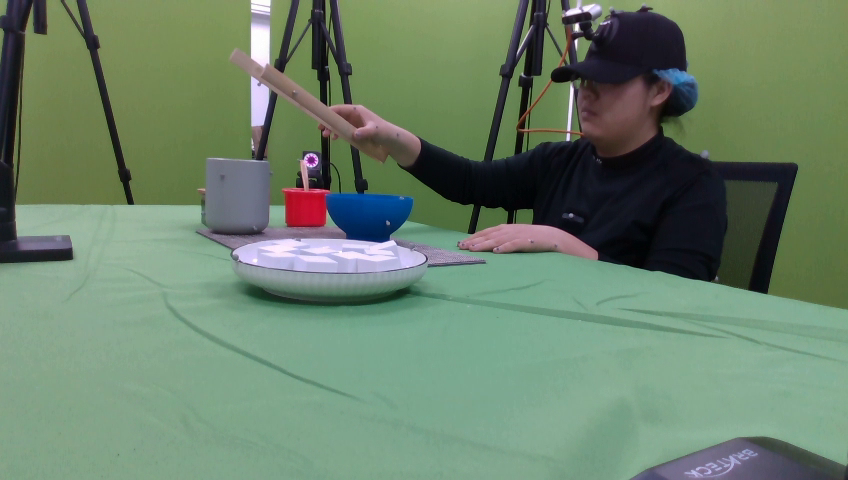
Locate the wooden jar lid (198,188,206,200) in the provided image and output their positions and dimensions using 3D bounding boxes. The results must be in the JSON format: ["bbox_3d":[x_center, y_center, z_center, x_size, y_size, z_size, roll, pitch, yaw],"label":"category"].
[{"bbox_3d":[-0.382,-0.088,1.175,0.108,0.020,0.108,3,8,0],"label":"wooden jar lid"}]

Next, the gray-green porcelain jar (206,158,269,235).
[{"bbox_3d":[-0.322,-0.076,1.048,0.106,0.126,0.106,3,7,0],"label":"gray-green porcelain jar"}]

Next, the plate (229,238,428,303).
[{"bbox_3d":[-0.099,0.032,0.651,0.209,0.038,0.209,3,8,0],"label":"plate"}]

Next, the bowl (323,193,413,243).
[{"bbox_3d":[-0.094,-0.037,1.015,0.151,0.077,0.151,3,7,0],"label":"bowl"}]

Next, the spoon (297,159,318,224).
[{"bbox_3d":[-0.244,-0.103,1.251,0.042,0.021,0.193,1,51,-17],"label":"spoon"}]

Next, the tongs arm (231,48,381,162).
[{"bbox_3d":[-0.198,-0.240,1.131,0.050,0.026,0.387,27,-1,35],"label":"tongs arm"}]

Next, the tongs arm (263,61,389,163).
[{"bbox_3d":[-0.160,-0.218,1.101,0.028,0.028,0.389,24,-3,30],"label":"tongs arm"}]
